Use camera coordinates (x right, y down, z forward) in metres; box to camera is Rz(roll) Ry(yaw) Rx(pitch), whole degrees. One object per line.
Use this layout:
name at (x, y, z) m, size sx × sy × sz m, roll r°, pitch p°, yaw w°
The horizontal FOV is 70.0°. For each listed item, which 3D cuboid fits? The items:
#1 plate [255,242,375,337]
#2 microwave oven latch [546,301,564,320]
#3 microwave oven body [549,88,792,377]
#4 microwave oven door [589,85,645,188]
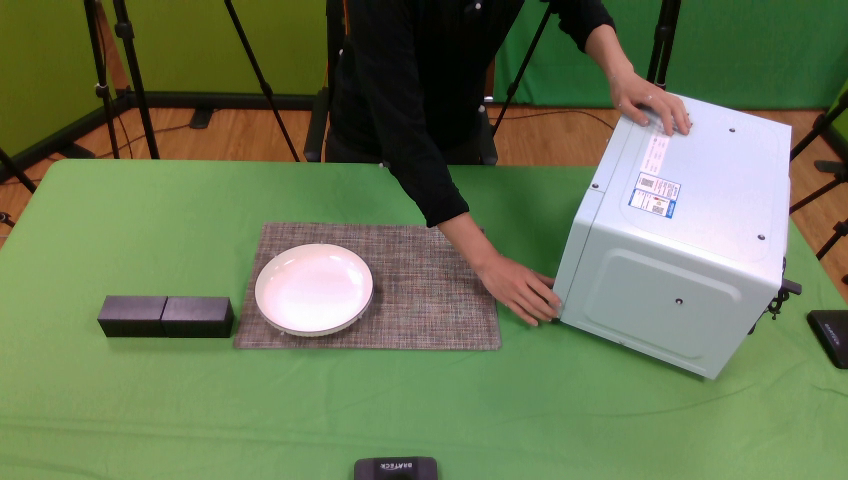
plate at (-0.192, 0.090, 1.079) m, size 0.208 × 0.039 × 0.206 m, roll 2°, pitch 46°, yaw -2°
microwave oven latch at (0.244, 0.104, 1.079) m, size 0.030 × 0.029 × 0.079 m, roll 27°, pitch 50°, yaw 22°
microwave oven body at (0.456, -0.028, 1.088) m, size 0.325 × 0.261 × 0.440 m, roll 20°, pitch 47°, yaw 16°
microwave oven door at (0.342, -0.107, 1.149) m, size 0.039 × 0.245 × 0.354 m, roll 20°, pitch 48°, yaw 15°
